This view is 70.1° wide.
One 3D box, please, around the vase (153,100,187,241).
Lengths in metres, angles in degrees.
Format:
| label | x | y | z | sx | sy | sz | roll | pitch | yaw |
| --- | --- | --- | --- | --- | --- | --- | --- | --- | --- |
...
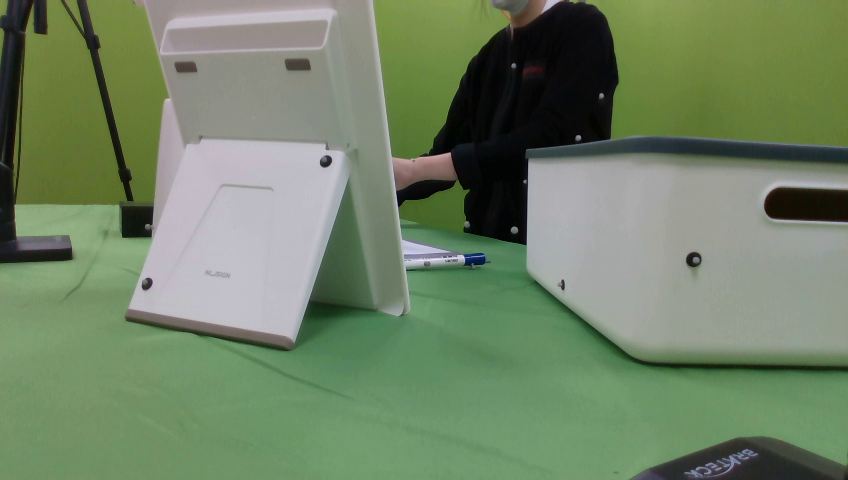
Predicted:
| label | x | y | z | sx | sy | sz | roll | pitch | yaw |
| --- | --- | --- | --- | --- | --- | --- | --- | --- | --- |
| vase | -0.278 | -0.066 | 0.736 | 0.098 | 0.200 | 0.098 | 2 | 9 | 0 |

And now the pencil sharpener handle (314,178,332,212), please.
| label | x | y | z | sx | sy | sz | roll | pitch | yaw |
| --- | --- | --- | --- | --- | --- | --- | --- | --- | --- |
| pencil sharpener handle | -0.200 | -0.089 | 1.182 | 0.036 | 0.068 | 0.030 | -15 | 15 | -30 |

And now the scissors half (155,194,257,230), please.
| label | x | y | z | sx | sy | sz | roll | pitch | yaw |
| --- | --- | --- | --- | --- | --- | --- | --- | --- | --- |
| scissors half | -0.378 | -0.051 | 1.058 | 0.176 | 0.040 | 0.012 | 20 | 22 | -31 |

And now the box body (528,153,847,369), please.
| label | x | y | z | sx | sy | sz | roll | pitch | yaw |
| --- | --- | --- | --- | --- | --- | --- | --- | --- | --- |
| box body | 0.258 | -0.005 | 0.591 | 0.254 | 0.160 | 0.363 | 2 | 7 | -4 |

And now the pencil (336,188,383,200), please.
| label | x | y | z | sx | sy | sz | roll | pitch | yaw |
| --- | --- | --- | --- | --- | --- | --- | --- | --- | --- |
| pencil | -0.115 | -0.081 | 1.038 | 0.012 | 0.012 | 0.193 | -2 | 8 | -30 |

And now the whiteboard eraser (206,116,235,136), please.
| label | x | y | z | sx | sy | sz | roll | pitch | yaw |
| --- | --- | --- | --- | --- | --- | --- | --- | --- | --- |
| whiteboard eraser | -0.450 | -0.252 | 1.335 | 0.056 | 0.042 | 0.112 | 1 | 7 | -22 |

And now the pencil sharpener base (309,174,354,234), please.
| label | x | y | z | sx | sy | sz | roll | pitch | yaw |
| --- | --- | --- | --- | --- | --- | --- | --- | --- | --- |
| pencil sharpener base | -0.176 | -0.070 | 1.139 | 0.062 | 0.107 | 0.076 | -3 | 9 | -32 |

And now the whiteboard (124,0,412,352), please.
| label | x | y | z | sx | sy | sz | roll | pitch | yaw |
| --- | --- | --- | --- | --- | --- | --- | --- | --- | --- |
| whiteboard | -0.151 | -0.049 | 0.472 | 0.216 | 0.305 | 0.144 | 6 | 27 | 24 |

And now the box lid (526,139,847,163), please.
| label | x | y | z | sx | sy | sz | roll | pitch | yaw |
| --- | --- | --- | --- | --- | --- | --- | --- | --- | --- |
| box lid | 0.261 | -0.078 | 0.580 | 0.264 | 0.015 | 0.371 | 2 | 7 | -4 |

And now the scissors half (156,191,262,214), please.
| label | x | y | z | sx | sy | sz | roll | pitch | yaw |
| --- | --- | --- | --- | --- | --- | --- | --- | --- | --- |
| scissors half | -0.371 | -0.069 | 1.051 | 0.176 | 0.040 | 0.013 | 2 | 25 | -24 |

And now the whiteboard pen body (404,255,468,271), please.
| label | x | y | z | sx | sy | sz | roll | pitch | yaw |
| --- | --- | --- | --- | --- | --- | --- | --- | --- | --- |
| whiteboard pen body | 0.013 | 0.030 | 0.792 | 0.141 | 0.017 | 0.017 | -3 | 9 | -24 |

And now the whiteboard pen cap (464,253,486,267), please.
| label | x | y | z | sx | sy | sz | roll | pitch | yaw |
| --- | --- | --- | --- | --- | --- | --- | --- | --- | --- |
| whiteboard pen cap | 0.066 | 0.027 | 0.818 | 0.033 | 0.018 | 0.018 | -5 | 10 | -24 |

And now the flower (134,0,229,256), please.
| label | x | y | z | sx | sy | sz | roll | pitch | yaw |
| --- | --- | --- | --- | --- | --- | --- | --- | --- | --- |
| flower | -0.282 | -0.147 | 0.713 | 0.038 | 0.362 | 0.044 | -23 | 23 | -31 |
